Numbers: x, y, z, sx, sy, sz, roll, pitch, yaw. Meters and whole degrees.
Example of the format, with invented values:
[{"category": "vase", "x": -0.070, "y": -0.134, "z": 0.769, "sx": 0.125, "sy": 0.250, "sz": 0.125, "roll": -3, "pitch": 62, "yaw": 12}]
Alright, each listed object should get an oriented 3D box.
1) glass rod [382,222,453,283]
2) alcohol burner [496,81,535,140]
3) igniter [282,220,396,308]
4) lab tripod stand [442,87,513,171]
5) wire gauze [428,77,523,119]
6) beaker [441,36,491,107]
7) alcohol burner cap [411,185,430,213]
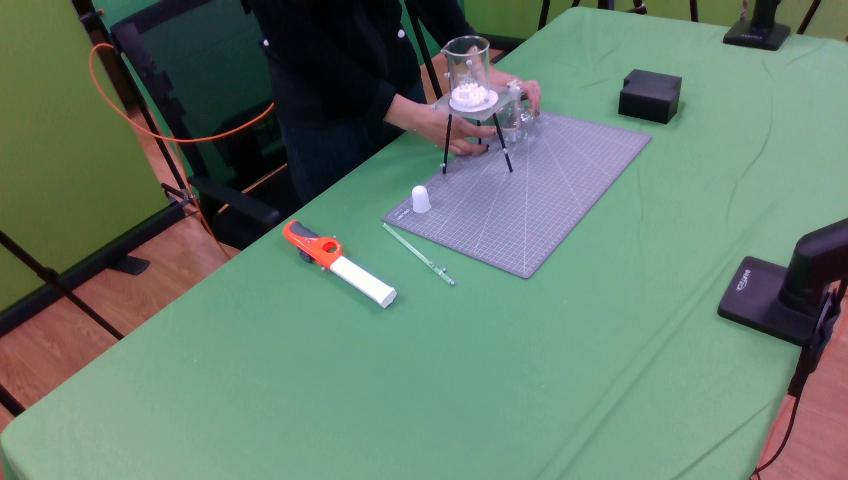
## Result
[{"category": "glass rod", "x": -0.014, "y": 0.016, "z": 0.976, "sx": 0.008, "sy": 0.008, "sz": 0.198, "roll": -30, "pitch": 44, "yaw": -22}, {"category": "alcohol burner", "x": 0.176, "y": -0.255, "z": 1.172, "sx": 0.078, "sy": 0.119, "sz": 0.077, "roll": -4, "pitch": 42, "yaw": 4}, {"category": "igniter", "x": -0.146, "y": 0.032, "z": 0.966, "sx": 0.274, "sy": 0.025, "sz": 0.057, "roll": 30, "pitch": 64, "yaw": 37}, {"category": "lab tripod stand", "x": 0.097, "y": -0.200, "z": 1.108, "sx": 0.148, "sy": 0.132, "sz": 0.147, "roll": -4, "pitch": 40, "yaw": 4}, {"category": "wire gauze", "x": 0.090, "y": -0.248, "z": 1.063, "sx": 0.120, "sy": 0.011, "sz": 0.125, "roll": 24, "pitch": 48, "yaw": 30}, {"category": "beaker", "x": 0.074, "y": -0.287, "z": 1.036, "sx": 0.084, "sy": 0.101, "sz": 0.073, "roll": -1, "pitch": 41, "yaw": 8}, {"category": "alcohol burner cap", "x": -0.008, "y": -0.074, "z": 1.050, "sx": 0.034, "sy": 0.048, "sz": 0.033, "roll": -4, "pitch": 39, "yaw": 4}]
